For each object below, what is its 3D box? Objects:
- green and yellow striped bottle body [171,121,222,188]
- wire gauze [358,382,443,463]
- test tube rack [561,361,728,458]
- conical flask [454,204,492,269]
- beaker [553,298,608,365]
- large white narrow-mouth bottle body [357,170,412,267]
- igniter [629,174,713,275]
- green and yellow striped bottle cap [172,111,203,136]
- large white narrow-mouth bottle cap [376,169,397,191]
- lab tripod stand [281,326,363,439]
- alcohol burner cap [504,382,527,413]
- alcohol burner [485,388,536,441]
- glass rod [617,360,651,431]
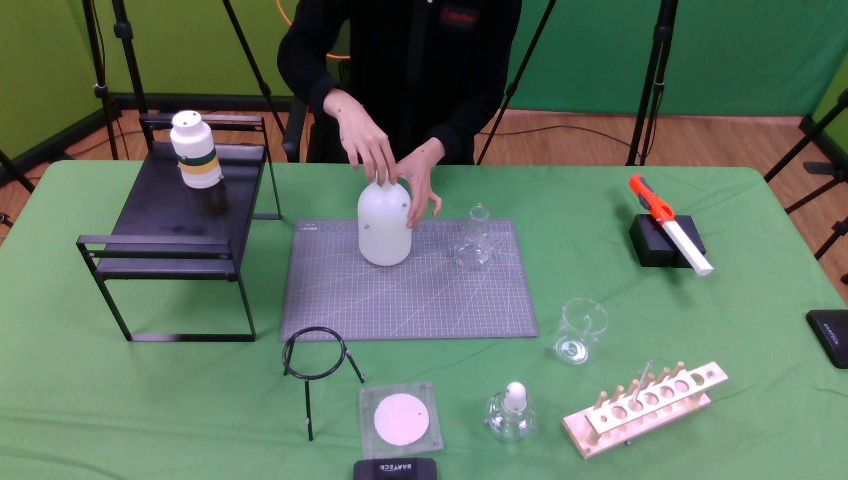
[{"bbox_3d":[-0.375,-0.149,0.995,0.063,0.120,0.063,2,46,-2],"label":"green and yellow striped bottle body"},{"bbox_3d":[-0.039,0.276,0.937,0.121,0.011,0.124,-4,47,-7],"label":"wire gauze"},{"bbox_3d":[0.341,0.248,0.940,0.243,0.085,0.066,-15,49,-18],"label":"test tube rack"},{"bbox_3d":[0.097,-0.009,1.140,0.075,0.122,0.075,2,46,-2],"label":"conical flask"},{"bbox_3d":[0.260,0.154,1.015,0.073,0.101,0.084,37,54,27],"label":"beaker"},{"bbox_3d":[-0.073,-0.046,1.115,0.102,0.195,0.101,4,46,-4],"label":"large white narrow-mouth bottle body"},{"bbox_3d":[0.481,-0.040,1.202,0.057,0.025,0.274,-2,46,-21],"label":"igniter"},{"bbox_3d":[-0.374,-0.185,0.957,0.045,0.020,0.045,3,45,-3],"label":"green and yellow striped bottle cap"},{"bbox_3d":[-0.064,-0.105,1.054,0.038,0.024,0.037,4,46,-4],"label":"large white narrow-mouth bottle cap"},{"bbox_3d":[-0.166,0.202,0.913,0.148,0.132,0.147,1,47,-1],"label":"lab tripod stand"},{"bbox_3d":[0.133,0.225,0.877,0.034,0.048,0.033,-4,47,5],"label":"alcohol burner cap"},{"bbox_3d":[0.131,0.249,0.904,0.078,0.120,0.077,1,48,-1],"label":"alcohol burner"},{"bbox_3d":[0.297,0.227,0.865,0.008,0.201,0.008,-1,47,2],"label":"glass rod"}]
